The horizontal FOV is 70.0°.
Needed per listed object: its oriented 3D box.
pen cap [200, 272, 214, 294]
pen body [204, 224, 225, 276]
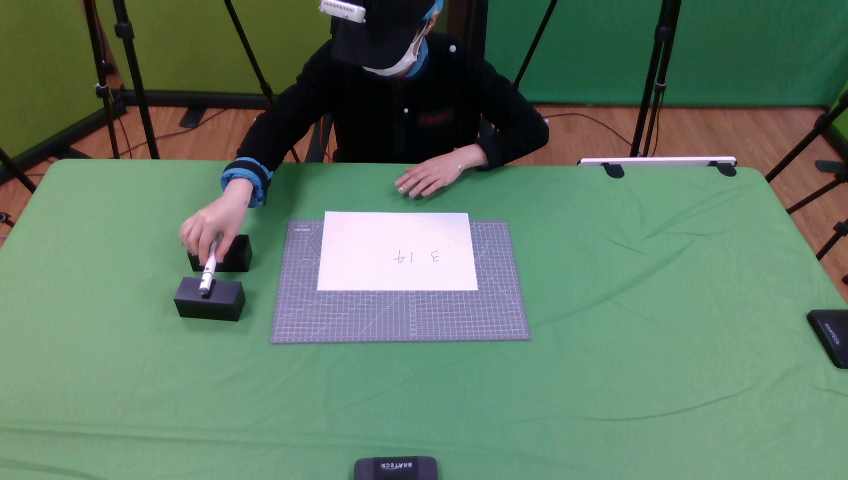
[{"bbox_3d":[-0.370,0.074,1.032,0.017,0.017,0.038,0,48,-4],"label":"pen cap"},{"bbox_3d":[-0.373,0.028,1.075,0.017,0.017,0.143,1,48,-3],"label":"pen body"}]
